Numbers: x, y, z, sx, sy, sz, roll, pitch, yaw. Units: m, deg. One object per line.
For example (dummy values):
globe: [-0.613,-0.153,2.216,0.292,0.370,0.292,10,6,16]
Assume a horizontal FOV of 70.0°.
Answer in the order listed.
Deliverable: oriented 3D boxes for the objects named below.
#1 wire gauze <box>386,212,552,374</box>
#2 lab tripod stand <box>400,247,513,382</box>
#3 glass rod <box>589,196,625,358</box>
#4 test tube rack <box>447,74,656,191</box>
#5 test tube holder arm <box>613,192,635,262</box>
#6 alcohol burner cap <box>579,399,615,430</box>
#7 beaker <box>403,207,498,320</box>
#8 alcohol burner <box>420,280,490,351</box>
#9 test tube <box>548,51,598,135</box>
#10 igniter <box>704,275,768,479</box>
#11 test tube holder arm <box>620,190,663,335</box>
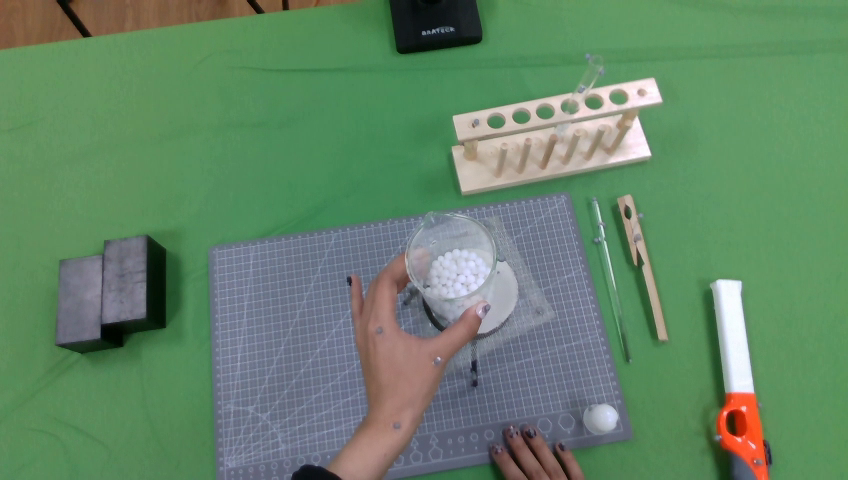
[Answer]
wire gauze: [0.041,0.045,0.579,0.121,0.011,0.124,-25,72,-6]
lab tripod stand: [0.038,0.071,0.642,0.148,0.132,0.147,-1,71,3]
glass rod: [0.216,0.040,0.718,0.008,0.008,0.198,-6,73,-1]
test tube rack: [0.153,-0.129,0.738,0.242,0.086,0.066,-11,70,-3]
test tube holder arm: [0.245,-0.016,0.733,0.010,0.015,0.087,-20,69,29]
alcohol burner cap: [0.186,0.184,0.647,0.034,0.048,0.033,0,70,2]
beaker: [0.024,0.024,0.524,0.074,0.101,0.083,-24,69,-1]
alcohol burner: [0.033,0.077,0.650,0.078,0.120,0.077,-1,69,2]
test tube: [0.168,-0.163,0.697,0.017,0.151,0.017,2,69,-4]
igniter: [0.338,0.172,0.659,0.057,0.025,0.274,5,71,-7]
test tube holder arm: [0.256,0.025,0.716,0.013,0.015,0.177,-20,69,29]
